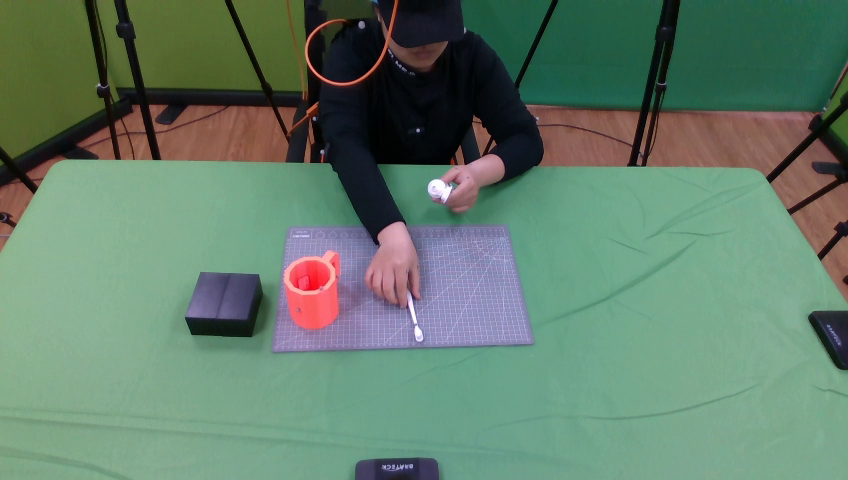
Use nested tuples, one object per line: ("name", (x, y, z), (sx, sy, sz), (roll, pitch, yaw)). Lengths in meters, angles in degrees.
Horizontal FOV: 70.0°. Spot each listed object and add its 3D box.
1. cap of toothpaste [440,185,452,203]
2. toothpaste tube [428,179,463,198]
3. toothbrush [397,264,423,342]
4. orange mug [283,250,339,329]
("cap of toothpaste", (0.039, -0.085, 1.094), (0.011, 0.037, 0.037), (28, 47, -8))
("toothpaste tube", (0.040, -0.098, 1.184), (0.055, 0.034, 0.165), (7, 3, 12))
("toothbrush", (-0.027, 0.108, 1.091), (0.014, 0.017, 0.180), (-20, 47, 3))
("orange mug", (-0.186, 0.079, 1.052), (0.083, 0.101, 0.126), (20, 52, 15))
